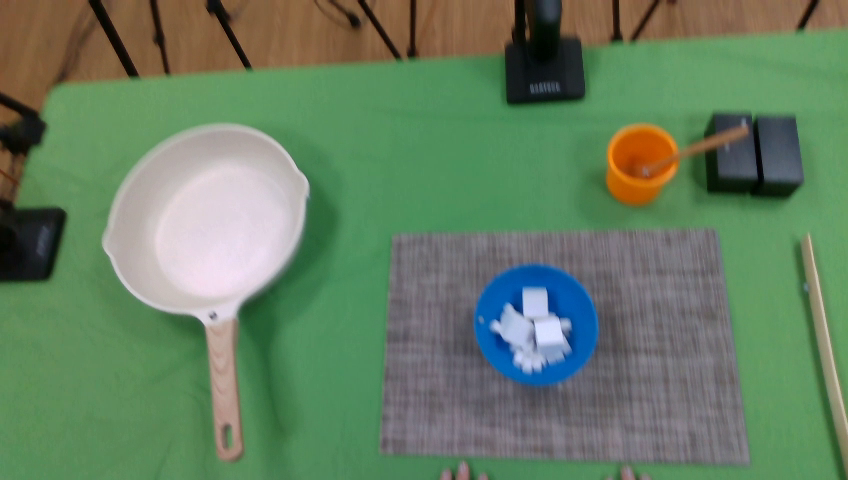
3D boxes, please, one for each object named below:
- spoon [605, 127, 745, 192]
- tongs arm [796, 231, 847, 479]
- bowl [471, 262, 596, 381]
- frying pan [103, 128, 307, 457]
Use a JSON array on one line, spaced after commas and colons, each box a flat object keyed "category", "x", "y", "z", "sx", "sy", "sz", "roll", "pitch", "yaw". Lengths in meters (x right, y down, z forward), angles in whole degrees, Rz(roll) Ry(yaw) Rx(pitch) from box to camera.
[{"category": "spoon", "x": 0.325, "y": -0.107, "z": 0.802, "sx": 0.022, "sy": 0.193, "sz": 0.041, "roll": 15, "pitch": 66, "yaw": -33}, {"category": "tongs arm", "x": 0.498, "y": 0.169, "z": 0.732, "sx": 0.028, "sy": 0.028, "sz": 0.384, "roll": -1, "pitch": 68, "yaw": 6}, {"category": "bowl", "x": 0.138, "y": 0.111, "z": 0.772, "sx": 0.151, "sy": 0.077, "sz": 0.150, "roll": -3, "pitch": 67, "yaw": 7}, {"category": "frying pan", "x": -0.289, "y": 0.058, "z": 0.842, "sx": 0.307, "sy": 0.104, "sz": 0.482, "roll": -16, "pitch": 58, "yaw": 2}]
